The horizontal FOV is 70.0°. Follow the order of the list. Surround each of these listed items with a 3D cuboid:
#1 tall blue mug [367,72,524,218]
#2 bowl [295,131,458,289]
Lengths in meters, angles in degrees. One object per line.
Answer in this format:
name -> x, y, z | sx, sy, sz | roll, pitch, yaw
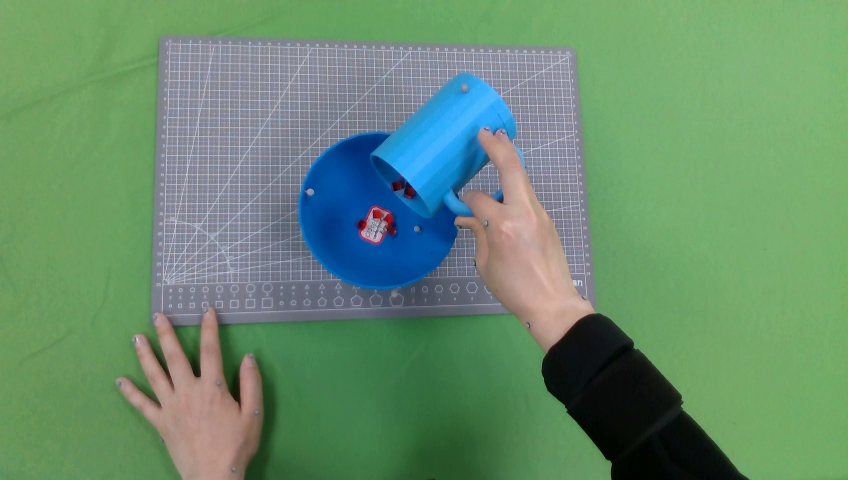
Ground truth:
tall blue mug -> 0.024, -0.076, 0.518 | 0.108, 0.106, 0.078 | -44, 131, -11
bowl -> -0.047, -0.022, 0.592 | 0.152, 0.077, 0.151 | 1, 80, -8
